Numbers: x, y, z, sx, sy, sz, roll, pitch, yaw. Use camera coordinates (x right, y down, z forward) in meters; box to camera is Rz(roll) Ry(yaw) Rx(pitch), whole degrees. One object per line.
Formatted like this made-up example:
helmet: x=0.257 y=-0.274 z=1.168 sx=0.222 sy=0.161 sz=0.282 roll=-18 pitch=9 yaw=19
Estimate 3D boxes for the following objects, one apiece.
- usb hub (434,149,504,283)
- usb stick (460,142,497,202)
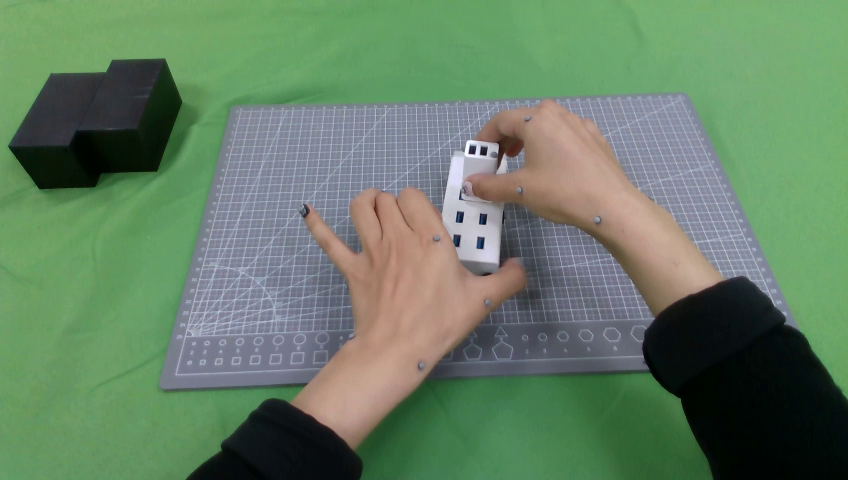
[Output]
usb hub: x=0.038 y=-0.024 z=0.491 sx=0.049 sy=0.025 sz=0.124 roll=4 pitch=51 yaw=6
usb stick: x=0.042 y=-0.048 z=0.473 sx=0.027 sy=0.060 sz=0.021 roll=2 pitch=50 yaw=6
